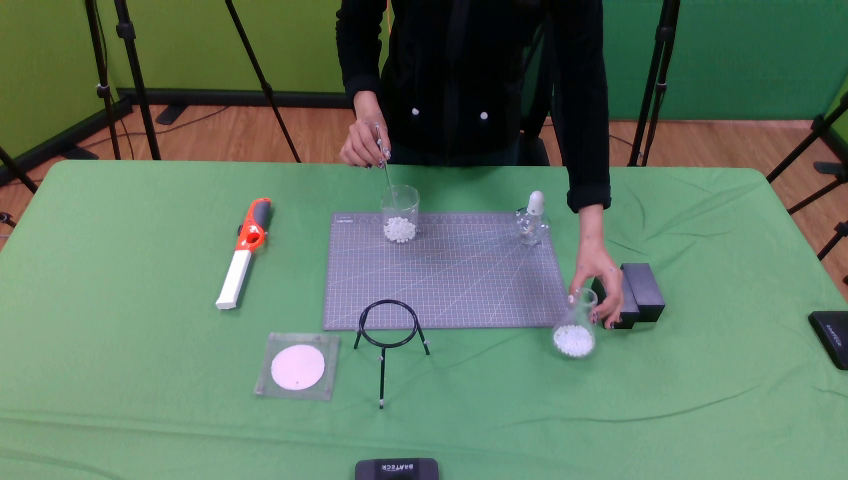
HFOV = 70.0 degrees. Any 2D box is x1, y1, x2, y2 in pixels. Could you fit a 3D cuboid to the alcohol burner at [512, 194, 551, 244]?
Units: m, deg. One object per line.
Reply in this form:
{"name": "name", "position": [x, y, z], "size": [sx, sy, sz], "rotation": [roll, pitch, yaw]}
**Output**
{"name": "alcohol burner", "position": [0.215, -0.048, 1.196], "size": [0.078, 0.119, 0.077], "rotation": [4, 46, -4]}

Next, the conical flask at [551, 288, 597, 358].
{"name": "conical flask", "position": [0.257, 0.133, 1.008], "size": [0.075, 0.122, 0.075], "rotation": [1, 43, -1]}

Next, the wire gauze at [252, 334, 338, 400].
{"name": "wire gauze", "position": [-0.209, 0.204, 0.996], "size": [0.125, 0.011, 0.120], "rotation": [3, 45, 1]}

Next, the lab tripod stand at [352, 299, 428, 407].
{"name": "lab tripod stand", "position": [-0.055, 0.166, 0.958], "size": [0.148, 0.132, 0.147], "rotation": [3, 44, -2]}

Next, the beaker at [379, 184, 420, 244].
{"name": "beaker", "position": [-0.050, -0.047, 1.184], "size": [0.084, 0.101, 0.073], "rotation": [-27, 53, -26]}

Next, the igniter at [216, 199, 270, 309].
{"name": "igniter", "position": [-0.341, 0.016, 1.153], "size": [0.057, 0.025, 0.275], "rotation": [-3, 45, 7]}

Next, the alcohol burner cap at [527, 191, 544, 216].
{"name": "alcohol burner cap", "position": [0.217, -0.073, 1.170], "size": [0.034, 0.048, 0.033], "rotation": [-1, 43, 1]}

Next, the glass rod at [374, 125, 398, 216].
{"name": "glass rod", "position": [-0.067, -0.122, 1.103], "size": [0.008, 0.201, 0.008], "rotation": [-7, 40, 6]}
